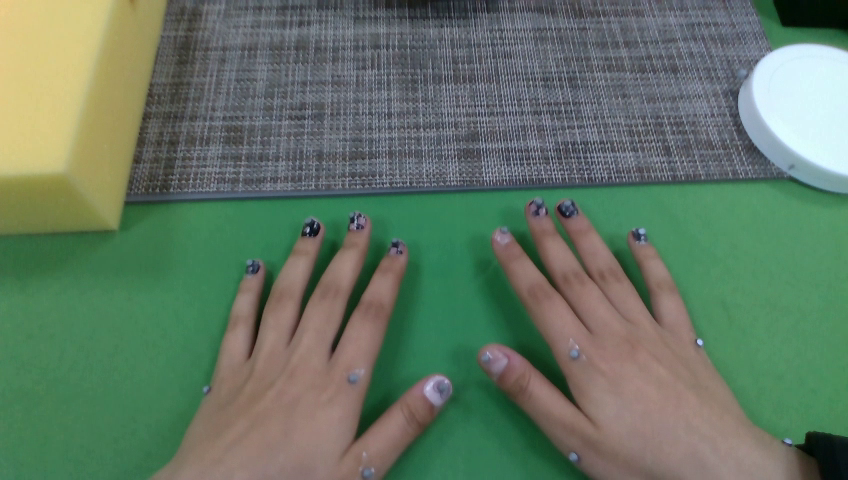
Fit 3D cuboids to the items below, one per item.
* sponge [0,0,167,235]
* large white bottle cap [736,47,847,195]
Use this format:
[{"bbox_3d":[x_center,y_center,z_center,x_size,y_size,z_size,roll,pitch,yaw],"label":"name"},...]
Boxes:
[{"bbox_3d":[-0.240,-0.105,0.372,0.118,0.061,0.205,-4,61,-2],"label":"sponge"},{"bbox_3d":[0.267,-0.081,0.401,0.115,0.018,0.114,2,62,-3],"label":"large white bottle cap"}]
